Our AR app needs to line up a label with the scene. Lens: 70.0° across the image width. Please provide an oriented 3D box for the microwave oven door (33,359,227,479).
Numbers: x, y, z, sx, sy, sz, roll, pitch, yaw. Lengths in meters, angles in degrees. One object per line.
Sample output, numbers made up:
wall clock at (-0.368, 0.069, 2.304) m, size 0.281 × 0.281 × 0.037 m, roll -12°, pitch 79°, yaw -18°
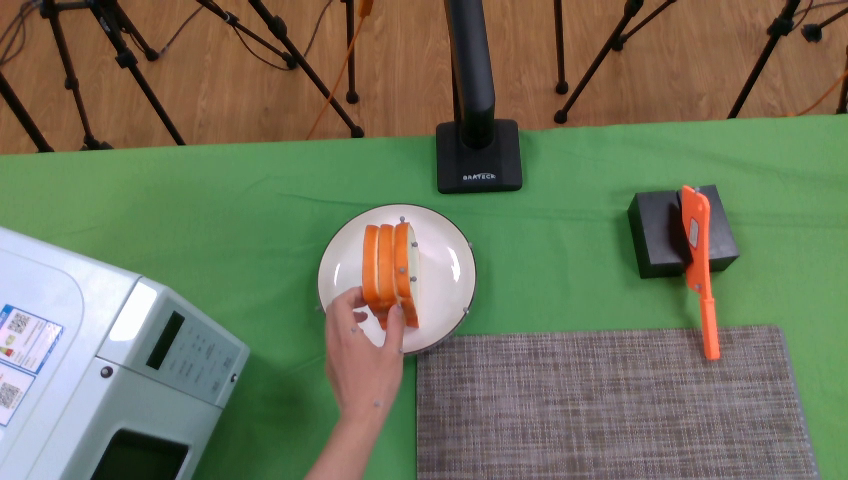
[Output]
microwave oven door at (-0.321, 0.303, 0.572) m, size 0.039 × 0.245 × 0.354 m, roll 16°, pitch 69°, yaw 11°

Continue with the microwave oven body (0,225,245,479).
microwave oven body at (-0.444, 0.228, 0.618) m, size 0.325 × 0.262 × 0.439 m, roll 17°, pitch 70°, yaw 10°

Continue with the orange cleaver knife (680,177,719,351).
orange cleaver knife at (0.335, 0.028, 0.743) m, size 0.012 × 0.077 × 0.211 m, roll -8°, pitch 96°, yaw 1°

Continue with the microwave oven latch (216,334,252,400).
microwave oven latch at (-0.239, 0.152, 0.740) m, size 0.030 × 0.030 × 0.079 m, roll 18°, pitch 70°, yaw 11°

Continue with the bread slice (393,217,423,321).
bread slice at (-0.018, 0.035, 0.733) m, size 0.018 × 0.135 × 0.106 m, roll -6°, pitch 70°, yaw 4°

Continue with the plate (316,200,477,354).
plate at (-0.035, 0.048, 0.789) m, size 0.207 × 0.039 × 0.206 m, roll -1°, pitch 67°, yaw 3°
